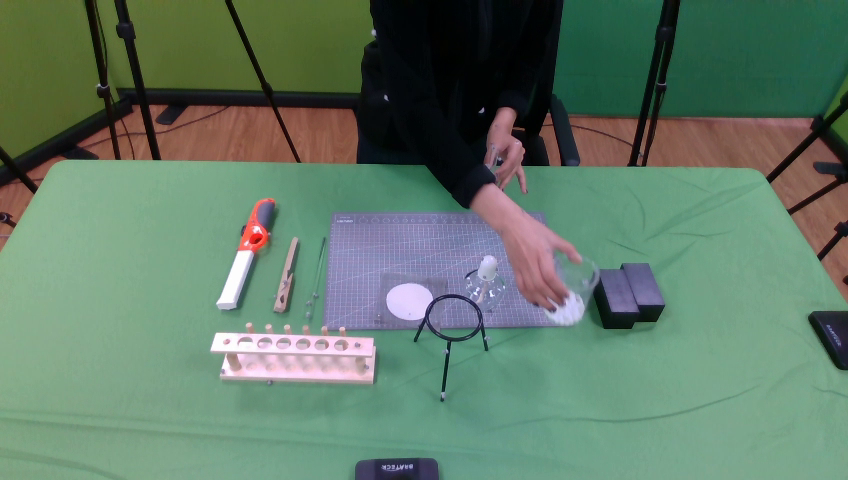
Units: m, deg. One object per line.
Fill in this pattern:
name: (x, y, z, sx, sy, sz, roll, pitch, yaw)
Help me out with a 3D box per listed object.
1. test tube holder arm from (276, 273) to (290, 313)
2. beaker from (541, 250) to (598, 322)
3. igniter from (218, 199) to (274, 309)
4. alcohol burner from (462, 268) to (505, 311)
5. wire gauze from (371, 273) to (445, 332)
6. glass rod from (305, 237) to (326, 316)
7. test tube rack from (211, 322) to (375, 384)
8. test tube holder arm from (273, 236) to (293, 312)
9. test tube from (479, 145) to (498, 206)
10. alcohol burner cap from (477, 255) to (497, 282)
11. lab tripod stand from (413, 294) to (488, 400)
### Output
test tube holder arm: (-0.254, 0.093, 1.094, 0.010, 0.015, 0.087, 30, 38, -28)
beaker: (0.228, 0.074, 0.956, 0.084, 0.101, 0.073, -15, 47, -17)
igniter: (-0.336, 0.017, 1.153, 0.057, 0.025, 0.275, -2, 45, 8)
alcohol burner: (0.108, 0.071, 1.072, 0.078, 0.119, 0.077, 4, 45, -3)
wire gauze: (-0.028, 0.108, 1.100, 0.125, 0.011, 0.121, 7, 45, 4)
glass rod: (-0.202, 0.064, 1.131, 0.008, 0.008, 0.198, 4, 44, 0)
test tube rack: (-0.203, 0.176, 0.969, 0.242, 0.085, 0.066, 3, 46, -2)
test tube holder arm: (-0.260, 0.058, 1.122, 0.013, 0.015, 0.177, 29, 38, -29)
test tube: (0.122, -0.119, 1.155, 0.017, 0.151, 0.017, 3, 49, -3)
alcohol burner cap: (0.110, 0.047, 1.046, 0.034, 0.048, 0.033, 2, 52, -2)
lab tripod stand: (0.044, 0.159, 0.972, 0.148, 0.132, 0.147, 3, 44, -2)
